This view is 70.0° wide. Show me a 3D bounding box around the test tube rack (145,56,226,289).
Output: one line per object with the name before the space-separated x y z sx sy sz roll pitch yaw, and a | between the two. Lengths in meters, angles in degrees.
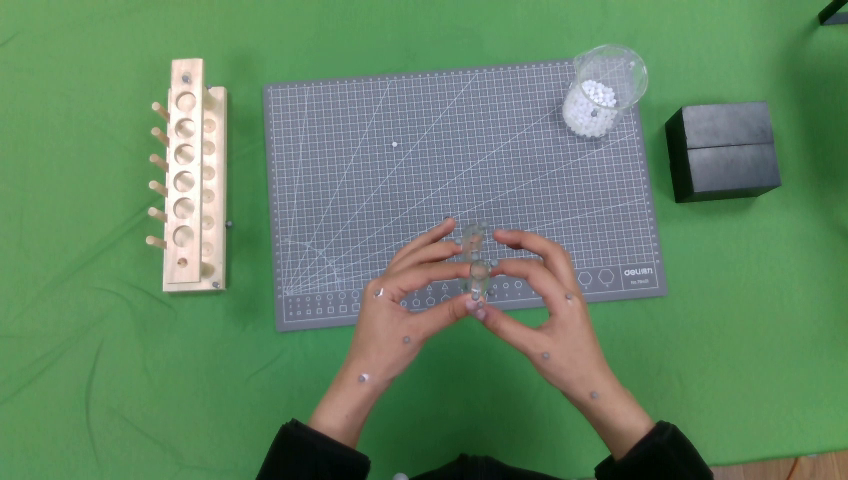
test tube rack | -0.267 -0.071 0.673 0.067 0.085 0.241 -2 81 -1

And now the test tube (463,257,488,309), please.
test tube | 0.041 0.038 0.495 0.017 0.151 0.017 -1 75 3

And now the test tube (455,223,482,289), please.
test tube | 0.035 0.017 0.507 0.017 0.151 0.017 0 72 1

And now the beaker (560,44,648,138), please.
beaker | 0.195 -0.165 0.686 0.084 0.100 0.074 32 81 6
